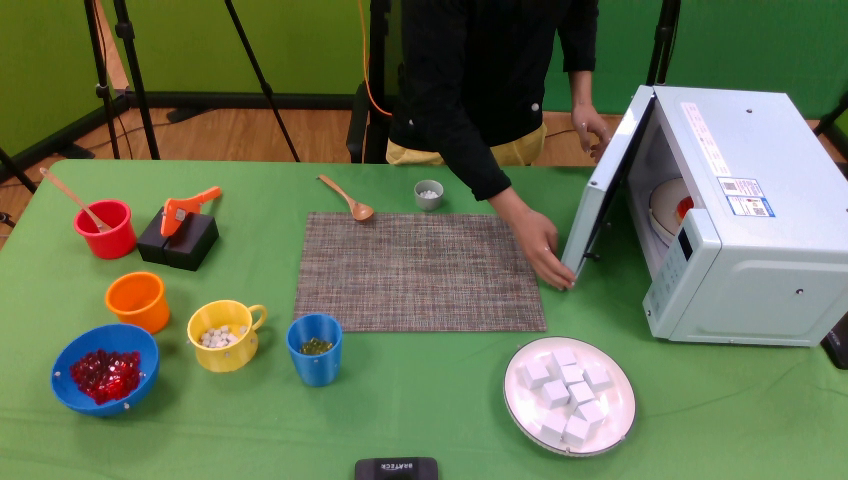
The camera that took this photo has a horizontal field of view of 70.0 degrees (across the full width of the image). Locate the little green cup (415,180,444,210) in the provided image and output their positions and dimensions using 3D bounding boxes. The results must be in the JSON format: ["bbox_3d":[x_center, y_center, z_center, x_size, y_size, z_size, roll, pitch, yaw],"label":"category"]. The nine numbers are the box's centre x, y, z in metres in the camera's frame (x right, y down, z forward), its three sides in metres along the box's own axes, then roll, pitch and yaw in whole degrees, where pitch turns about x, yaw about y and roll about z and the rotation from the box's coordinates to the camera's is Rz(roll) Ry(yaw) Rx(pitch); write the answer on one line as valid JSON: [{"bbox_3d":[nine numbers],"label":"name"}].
[{"bbox_3d":[0.011,-0.094,1.278,0.061,0.039,0.061,2,48,-2],"label":"little green cup"}]

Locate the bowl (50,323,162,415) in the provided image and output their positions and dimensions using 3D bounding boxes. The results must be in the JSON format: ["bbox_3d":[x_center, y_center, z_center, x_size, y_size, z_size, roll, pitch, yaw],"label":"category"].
[{"bbox_3d":[-0.472,0.209,0.924,0.151,0.077,0.150,2,45,-2],"label":"bowl"}]

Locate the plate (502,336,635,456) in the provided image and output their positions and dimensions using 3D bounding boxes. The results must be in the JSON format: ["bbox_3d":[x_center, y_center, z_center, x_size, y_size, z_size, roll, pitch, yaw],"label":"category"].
[{"bbox_3d":[0.225,0.248,0.963,0.208,0.039,0.206,2,46,-2],"label":"plate"}]

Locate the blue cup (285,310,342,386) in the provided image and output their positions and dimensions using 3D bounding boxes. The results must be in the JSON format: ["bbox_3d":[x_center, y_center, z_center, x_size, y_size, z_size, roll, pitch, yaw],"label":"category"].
[{"bbox_3d":[-0.170,0.179,0.958,0.093,0.101,0.092,1,44,-1],"label":"blue cup"}]

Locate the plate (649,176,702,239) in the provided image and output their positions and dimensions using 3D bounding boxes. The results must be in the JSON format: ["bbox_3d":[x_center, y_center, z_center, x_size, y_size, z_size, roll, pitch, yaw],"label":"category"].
[{"bbox_3d":[0.543,-0.047,1.176,0.209,0.038,0.208,0,43,1],"label":"plate"}]

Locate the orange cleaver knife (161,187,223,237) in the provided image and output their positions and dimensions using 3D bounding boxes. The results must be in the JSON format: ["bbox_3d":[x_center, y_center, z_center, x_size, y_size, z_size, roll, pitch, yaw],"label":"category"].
[{"bbox_3d":[-0.448,-0.058,1.181,0.012,0.077,0.211,13,17,6],"label":"orange cleaver knife"}]

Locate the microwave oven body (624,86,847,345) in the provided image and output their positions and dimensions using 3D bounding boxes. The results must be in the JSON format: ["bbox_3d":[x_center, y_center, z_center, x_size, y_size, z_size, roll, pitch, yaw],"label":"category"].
[{"bbox_3d":[0.568,-0.053,1.118,0.326,0.261,0.439,2,45,-1],"label":"microwave oven body"}]

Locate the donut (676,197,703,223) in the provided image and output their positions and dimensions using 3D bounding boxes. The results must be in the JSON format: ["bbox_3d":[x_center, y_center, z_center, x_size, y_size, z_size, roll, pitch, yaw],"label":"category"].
[{"bbox_3d":[0.537,-0.045,1.169,0.099,0.048,0.098,9,38,-6],"label":"donut"}]

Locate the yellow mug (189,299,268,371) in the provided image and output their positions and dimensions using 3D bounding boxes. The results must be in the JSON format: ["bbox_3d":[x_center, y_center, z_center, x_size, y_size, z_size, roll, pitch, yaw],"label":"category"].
[{"bbox_3d":[-0.316,0.148,1.002,0.131,0.064,0.099,-32,56,-31],"label":"yellow mug"}]

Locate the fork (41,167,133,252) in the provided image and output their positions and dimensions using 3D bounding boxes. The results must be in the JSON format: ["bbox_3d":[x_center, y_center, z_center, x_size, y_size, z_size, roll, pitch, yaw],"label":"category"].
[{"bbox_3d":[-0.624,-0.056,1.121,0.208,0.018,0.028,49,52,-15],"label":"fork"}]

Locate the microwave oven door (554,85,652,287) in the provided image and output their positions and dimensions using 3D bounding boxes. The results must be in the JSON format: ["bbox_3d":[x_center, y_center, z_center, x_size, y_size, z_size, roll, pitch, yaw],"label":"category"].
[{"bbox_3d":[0.346,-0.111,1.152,0.039,0.245,0.355,23,49,17],"label":"microwave oven door"}]

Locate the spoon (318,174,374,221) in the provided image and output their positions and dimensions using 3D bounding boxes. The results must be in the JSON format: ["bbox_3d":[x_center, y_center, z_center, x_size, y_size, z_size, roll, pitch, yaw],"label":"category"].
[{"bbox_3d":[-0.168,-0.095,1.274,0.041,0.022,0.192,-39,56,-14],"label":"spoon"}]

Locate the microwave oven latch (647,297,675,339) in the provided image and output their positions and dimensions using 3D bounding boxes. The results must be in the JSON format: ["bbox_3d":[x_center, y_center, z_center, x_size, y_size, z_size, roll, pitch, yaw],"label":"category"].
[{"bbox_3d":[0.413,0.134,1.061,0.030,0.029,0.078,5,45,2],"label":"microwave oven latch"}]
